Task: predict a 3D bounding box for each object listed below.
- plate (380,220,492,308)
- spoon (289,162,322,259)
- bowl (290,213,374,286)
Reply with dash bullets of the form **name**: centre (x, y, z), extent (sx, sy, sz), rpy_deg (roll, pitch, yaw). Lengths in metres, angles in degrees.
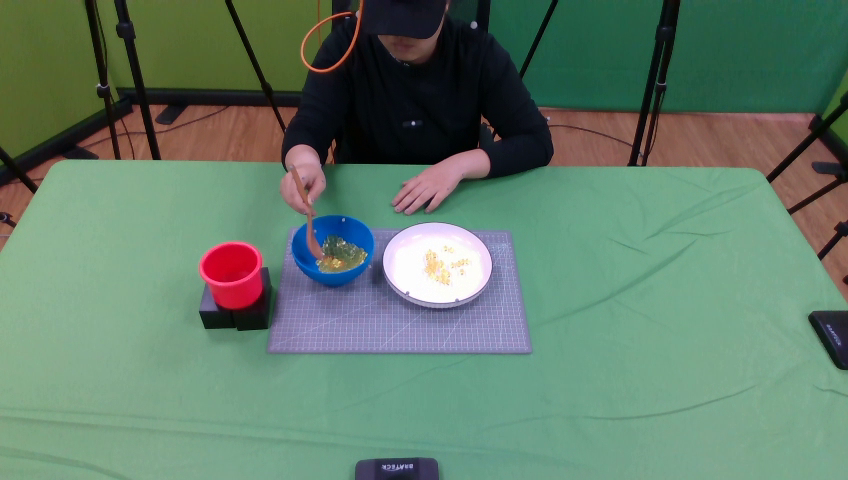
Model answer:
- **plate**: centre (0.022, 0.048, 1.138), extent (0.208, 0.039, 0.206), rpy_deg (2, 46, -2)
- **spoon**: centre (-0.203, -0.048, 1.043), extent (0.021, 0.194, 0.041), rpy_deg (-2, 34, 5)
- **bowl**: centre (-0.166, 0.030, 1.113), extent (0.151, 0.077, 0.150), rpy_deg (2, 46, -2)
